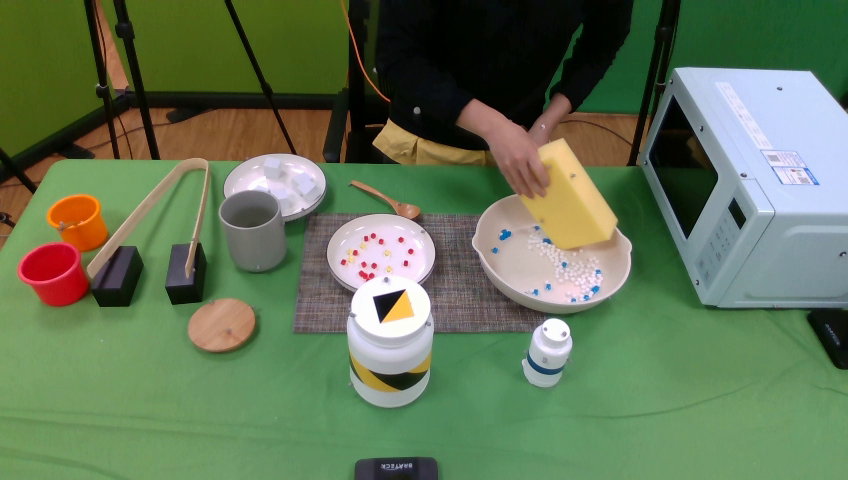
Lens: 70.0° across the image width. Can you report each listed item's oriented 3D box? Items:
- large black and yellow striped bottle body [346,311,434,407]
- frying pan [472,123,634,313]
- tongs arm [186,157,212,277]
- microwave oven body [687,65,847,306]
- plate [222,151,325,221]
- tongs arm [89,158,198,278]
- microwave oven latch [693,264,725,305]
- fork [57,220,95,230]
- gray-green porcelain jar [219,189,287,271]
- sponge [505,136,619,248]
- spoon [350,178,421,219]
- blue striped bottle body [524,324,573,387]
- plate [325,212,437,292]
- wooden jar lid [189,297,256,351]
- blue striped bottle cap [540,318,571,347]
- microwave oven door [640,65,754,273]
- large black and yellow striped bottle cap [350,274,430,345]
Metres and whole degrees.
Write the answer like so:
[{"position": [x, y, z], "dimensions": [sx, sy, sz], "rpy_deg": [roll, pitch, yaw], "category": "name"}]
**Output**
[{"position": [-0.052, 0.157, 0.929], "dimensions": [0.131, 0.185, 0.130], "rpy_deg": [2, 47, -2], "category": "large black and yellow striped bottle body"}, {"position": [0.235, -0.060, 1.207], "dimensions": [0.307, 0.103, 0.484], "rpy_deg": [1, 54, -6], "category": "frying pan"}, {"position": [-0.445, -0.058, 1.168], "dimensions": [0.051, 0.026, 0.382], "rpy_deg": [-5, 37, -6], "category": "tongs arm"}, {"position": [0.669, -0.111, 1.176], "dimensions": [0.326, 0.261, 0.439], "rpy_deg": [0, 46, -3], "category": "microwave oven body"}, {"position": [-0.310, -0.106, 1.262], "dimensions": [0.208, 0.039, 0.206], "rpy_deg": [2, 47, -2], "category": "plate"}, {"position": [-0.529, -0.057, 1.164], "dimensions": [0.028, 0.028, 0.385], "rpy_deg": [1, 36, 8], "category": "tongs arm"}, {"position": [0.523, 0.082, 1.116], "dimensions": [0.030, 0.029, 0.078], "rpy_deg": [2, 46, -1], "category": "microwave oven latch"}, {"position": [-0.624, -0.027, 1.087], "dimensions": [0.028, 0.207, 0.018], "rpy_deg": [-3, 92, -17], "category": "fork"}, {"position": [-0.310, -0.014, 1.113], "dimensions": [0.106, 0.127, 0.105], "rpy_deg": [2, 46, -2], "category": "gray-green porcelain jar"}, {"position": [0.264, -0.085, 1.153], "dimensions": [0.118, 0.208, 0.060], "rpy_deg": [-17, 30, 46], "category": "sponge"}, {"position": [-0.084, -0.092, 1.273], "dimensions": [0.193, 0.022, 0.041], "rpy_deg": [31, 70, 25], "category": "spoon"}, {"position": [0.200, 0.178, 0.970], "dimensions": [0.063, 0.121, 0.062], "rpy_deg": [2, 46, -1], "category": "blue striped bottle body"}, {"position": [-0.080, 0.030, 1.143], "dimensions": [0.209, 0.038, 0.208], "rpy_deg": [3, 46, -3], "category": "plate"}, {"position": [-0.342, 0.145, 1.033], "dimensions": [0.108, 0.021, 0.107], "rpy_deg": [2, 45, -2], "category": "wooden jar lid"}, {"position": [0.203, 0.142, 0.933], "dimensions": [0.044, 0.021, 0.044], "rpy_deg": [3, 49, -4], "category": "blue striped bottle cap"}, {"position": [0.523, -0.147, 1.193], "dimensions": [0.039, 0.245, 0.353], "rpy_deg": [0, 47, -3], "category": "microwave oven door"}, {"position": [-0.048, 0.097, 0.867], "dimensions": [0.115, 0.019, 0.114], "rpy_deg": [3, 48, -3], "category": "large black and yellow striped bottle cap"}]
